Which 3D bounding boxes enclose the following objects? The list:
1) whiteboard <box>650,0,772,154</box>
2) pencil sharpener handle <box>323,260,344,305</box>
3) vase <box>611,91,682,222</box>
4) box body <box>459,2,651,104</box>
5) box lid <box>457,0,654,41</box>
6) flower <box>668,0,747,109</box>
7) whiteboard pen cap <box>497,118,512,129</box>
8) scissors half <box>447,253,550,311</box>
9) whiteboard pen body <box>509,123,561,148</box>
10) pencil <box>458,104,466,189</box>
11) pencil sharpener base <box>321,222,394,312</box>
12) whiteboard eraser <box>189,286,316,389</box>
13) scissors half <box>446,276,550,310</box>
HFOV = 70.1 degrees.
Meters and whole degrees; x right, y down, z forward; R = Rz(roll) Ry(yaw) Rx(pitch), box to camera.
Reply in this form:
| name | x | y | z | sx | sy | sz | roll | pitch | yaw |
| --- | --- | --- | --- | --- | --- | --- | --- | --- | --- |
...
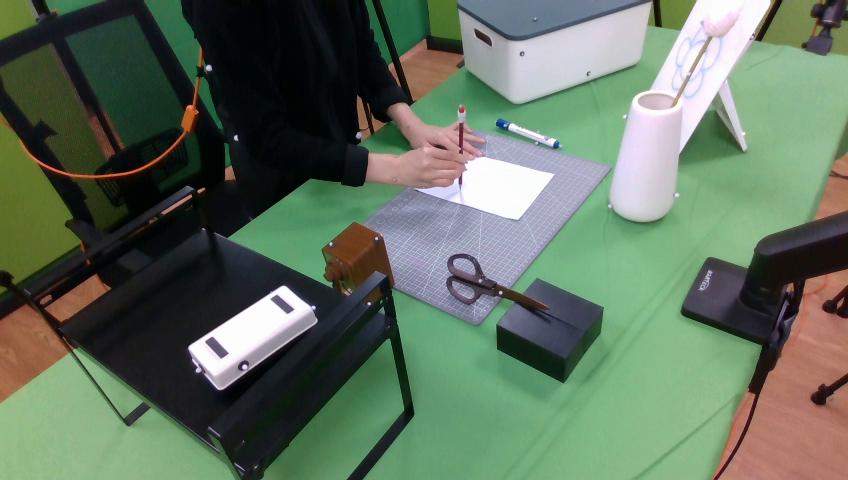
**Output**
| name | x | y | z | sx | sy | sz | roll | pitch | yaw |
| --- | --- | --- | --- | --- | --- | --- | --- | --- | --- |
| whiteboard | 0.543 | -0.298 | 1.076 | 0.144 | 0.305 | 0.216 | 12 | 40 | -7 |
| pencil sharpener handle | -0.131 | 0.062 | 0.839 | 0.035 | 0.068 | 0.031 | 29 | 55 | 28 |
| vase | 0.348 | -0.125 | 0.935 | 0.098 | 0.201 | 0.097 | -3 | 40 | 3 |
| box body | 0.291 | -0.465 | 1.371 | 0.365 | 0.161 | 0.252 | -22 | 42 | -16 |
| box lid | 0.285 | -0.522 | 1.323 | 0.373 | 0.015 | 0.261 | -22 | 43 | -16 |
| flower | 0.354 | -0.187 | 0.879 | 0.038 | 0.362 | 0.044 | 30 | 48 | 14 |
| whiteboard pen cap | 0.165 | -0.235 | 1.226 | 0.033 | 0.018 | 0.018 | 31 | 53 | 31 |
| scissors half | 0.098 | 0.058 | 0.821 | 0.173 | 0.040 | 0.013 | 27 | 33 | 36 |
| whiteboard pen body | 0.208 | -0.212 | 1.196 | 0.139 | 0.017 | 0.017 | 30 | 52 | 33 |
| pencil | 0.062 | -0.149 | 1.004 | 0.012 | 0.195 | 0.012 | -1 | 54 | 2 |
| pencil sharpener base | -0.096 | 0.041 | 0.873 | 0.061 | 0.107 | 0.077 | 25 | 54 | 32 |
| whiteboard eraser | -0.166 | 0.096 | 0.593 | 0.113 | 0.042 | 0.055 | -36 | 47 | -29 |
| scissors half | 0.098 | 0.077 | 0.827 | 0.174 | 0.040 | 0.013 | 6 | 13 | 44 |
